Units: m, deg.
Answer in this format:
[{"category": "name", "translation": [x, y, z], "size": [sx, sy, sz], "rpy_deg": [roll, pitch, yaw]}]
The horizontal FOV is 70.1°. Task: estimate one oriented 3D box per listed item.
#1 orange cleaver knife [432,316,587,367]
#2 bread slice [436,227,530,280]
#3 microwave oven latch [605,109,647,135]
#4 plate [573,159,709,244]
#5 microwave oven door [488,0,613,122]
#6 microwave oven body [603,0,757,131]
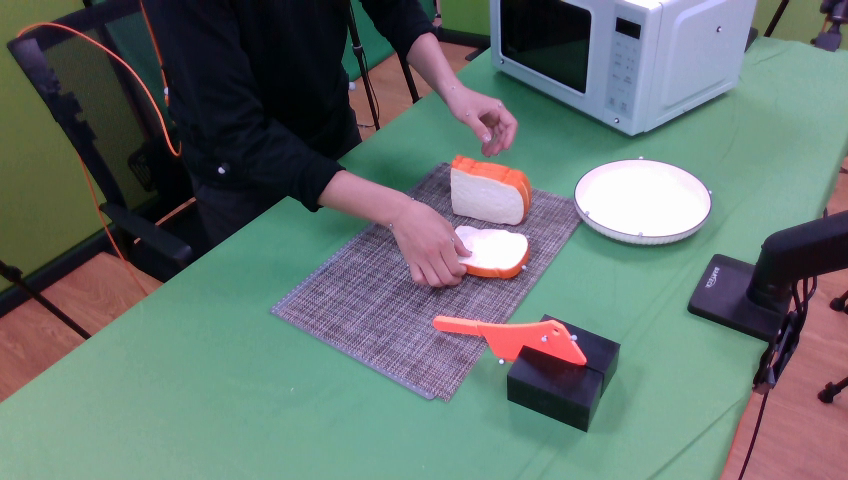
[{"category": "orange cleaver knife", "translation": [0.101, 0.127, 0.761], "size": [0.210, 0.077, 0.012], "rpy_deg": [-1, 34, 40]}, {"category": "bread slice", "translation": [0.093, 0.021, 0.927], "size": [0.133, 0.018, 0.107], "rpy_deg": [8, 43, 28]}, {"category": "microwave oven latch", "translation": [0.378, -0.225, 1.139], "size": [0.030, 0.029, 0.078], "rpy_deg": [-26, 43, -19]}, {"category": "plate", "translation": [0.347, -0.059, 0.979], "size": [0.207, 0.039, 0.206], "rpy_deg": [-4, 41, 4]}, {"category": "microwave oven door", "translation": [0.250, -0.412, 1.219], "size": [0.039, 0.245, 0.352], "rpy_deg": [-27, 44, -21]}, {"category": "microwave oven body", "translation": [0.396, -0.448, 1.248], "size": [0.327, 0.261, 0.437], "rpy_deg": [-27, 44, -21]}]
